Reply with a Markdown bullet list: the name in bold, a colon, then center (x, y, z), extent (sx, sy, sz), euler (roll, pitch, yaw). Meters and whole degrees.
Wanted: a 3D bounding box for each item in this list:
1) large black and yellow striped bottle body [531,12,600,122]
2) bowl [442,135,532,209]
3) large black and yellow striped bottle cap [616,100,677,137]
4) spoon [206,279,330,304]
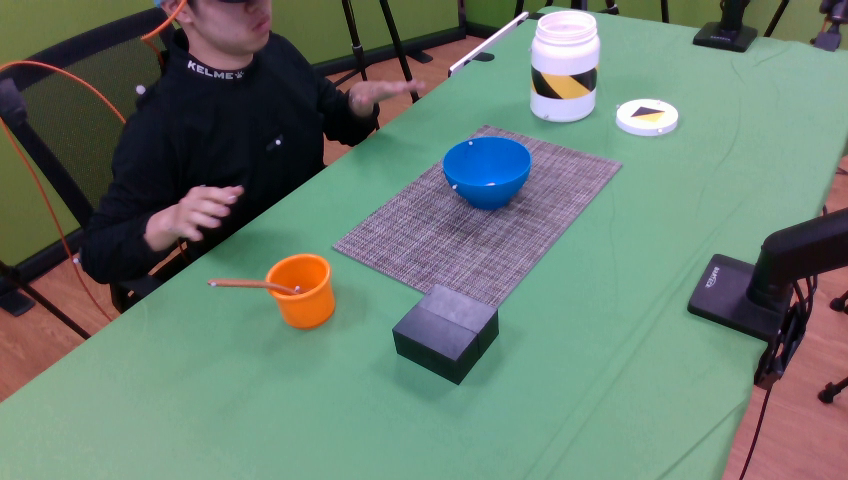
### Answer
- **large black and yellow striped bottle body**: center (0.279, -0.344, 1.202), extent (0.131, 0.185, 0.130), euler (-4, 41, 4)
- **bowl**: center (0.108, -0.106, 1.026), extent (0.151, 0.077, 0.150), euler (-4, 41, 4)
- **large black and yellow striped bottle cap**: center (0.438, -0.241, 1.190), extent (0.115, 0.019, 0.114), euler (-4, 42, 4)
- **spoon**: center (-0.206, 0.066, 0.824), extent (0.041, 0.195, 0.021), euler (31, 98, 41)
